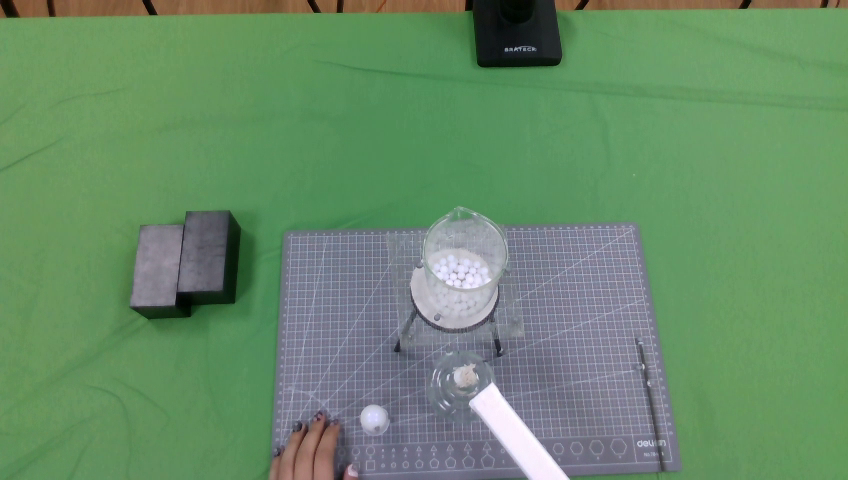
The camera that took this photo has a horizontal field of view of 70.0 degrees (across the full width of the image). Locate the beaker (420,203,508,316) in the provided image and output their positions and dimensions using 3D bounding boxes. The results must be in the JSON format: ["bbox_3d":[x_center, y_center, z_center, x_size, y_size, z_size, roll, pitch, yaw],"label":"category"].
[{"bbox_3d":[0.032,0.022,0.557,0.074,0.101,0.083,-5,67,-3],"label":"beaker"}]

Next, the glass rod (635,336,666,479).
[{"bbox_3d":[0.257,0.206,0.683,0.008,0.008,0.198,-2,69,-3],"label":"glass rod"}]

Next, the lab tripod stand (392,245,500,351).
[{"bbox_3d":[0.026,0.066,0.662,0.148,0.132,0.147,0,68,0],"label":"lab tripod stand"}]

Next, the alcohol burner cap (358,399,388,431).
[{"bbox_3d":[-0.056,0.189,0.661,0.034,0.048,0.033,1,69,-1],"label":"alcohol burner cap"}]

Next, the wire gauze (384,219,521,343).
[{"bbox_3d":[0.027,0.039,0.602,0.125,0.011,0.120,-6,67,-2],"label":"wire gauze"}]

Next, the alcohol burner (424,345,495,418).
[{"bbox_3d":[0.038,0.147,0.642,0.078,0.120,0.077,0,67,0],"label":"alcohol burner"}]

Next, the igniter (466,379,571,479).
[{"bbox_3d":[0.135,0.245,0.544,0.057,0.025,0.275,-38,76,-4],"label":"igniter"}]
